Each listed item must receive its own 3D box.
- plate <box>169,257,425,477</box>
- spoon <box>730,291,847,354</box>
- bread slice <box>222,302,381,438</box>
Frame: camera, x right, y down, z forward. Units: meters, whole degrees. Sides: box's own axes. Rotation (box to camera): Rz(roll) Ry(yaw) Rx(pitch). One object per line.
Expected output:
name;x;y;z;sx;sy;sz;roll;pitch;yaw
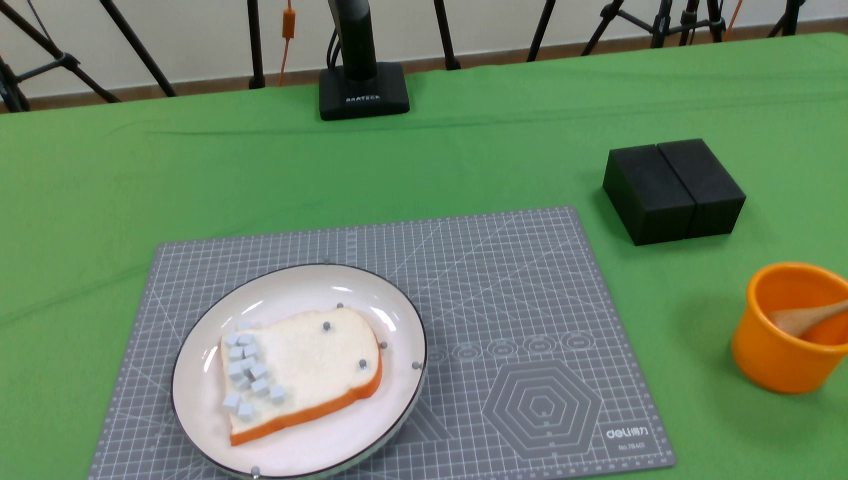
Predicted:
plate;-0.102;0.101;0.509;0.209;0.038;0.207;-1;46;1
spoon;0.330;0.040;0.467;0.193;0.022;0.041;-31;34;30
bread slice;-0.104;0.099;0.515;0.132;0.019;0.103;-17;48;-11
